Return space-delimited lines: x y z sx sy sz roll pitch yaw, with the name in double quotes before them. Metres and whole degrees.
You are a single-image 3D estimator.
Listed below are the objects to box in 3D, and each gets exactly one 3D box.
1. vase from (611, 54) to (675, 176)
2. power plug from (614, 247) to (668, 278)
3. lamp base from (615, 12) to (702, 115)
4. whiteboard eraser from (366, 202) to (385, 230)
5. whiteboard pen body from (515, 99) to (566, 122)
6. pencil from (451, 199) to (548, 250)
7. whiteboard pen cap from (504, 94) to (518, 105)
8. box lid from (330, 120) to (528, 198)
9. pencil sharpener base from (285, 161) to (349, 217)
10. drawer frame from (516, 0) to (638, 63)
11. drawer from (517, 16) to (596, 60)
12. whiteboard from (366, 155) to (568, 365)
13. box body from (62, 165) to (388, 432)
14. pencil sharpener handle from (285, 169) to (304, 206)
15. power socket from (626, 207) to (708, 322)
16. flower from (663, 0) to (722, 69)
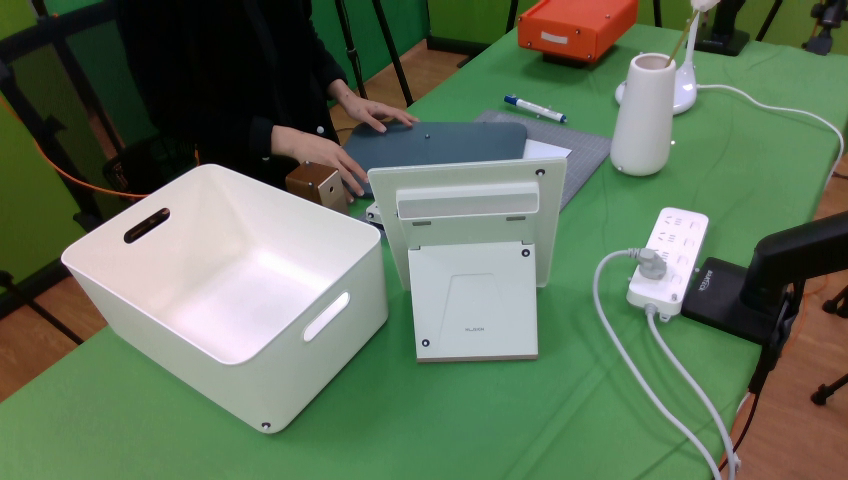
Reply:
"vase" 0.377 -0.209 1.031 0.098 0.201 0.097 -4 40 3
"power plug" 0.306 0.031 0.851 0.072 0.053 0.035 24 49 33
"lamp base" 0.484 -0.363 1.211 0.180 0.181 0.159 -15 41 -14
"whiteboard eraser" -0.037 -0.038 1.006 0.112 0.042 0.055 16 48 25
"whiteboard pen body" 0.234 -0.274 1.262 0.139 0.017 0.017 28 51 29
"pencil" 0.125 -0.025 0.994 0.195 0.012 0.012 -26 44 -19
"whiteboard pen cap" 0.190 -0.299 1.292 0.033 0.018 0.018 30 52 28
"box lid" 0.009 -0.158 1.167 0.370 0.015 0.262 3 41 13
"pencil sharpener base" -0.180 -0.071 1.019 0.076 0.107 0.061 16 46 26
"drawer frame" 0.355 -0.508 1.411 0.200 0.083 0.214 23 51 32
"drawer" 0.352 -0.506 1.405 0.193 0.073 0.212 23 49 32
"whiteboard" 0.059 0.050 0.738 0.217 0.307 0.143 -2 60 6
"box body" -0.255 0.065 0.827 0.361 0.161 0.255 21 48 29
"pencil sharpener handle" -0.227 -0.091 1.031 0.030 0.068 0.036 17 35 26
"power socket" 0.359 0.026 0.886 0.072 0.033 0.227 16 46 26
"flower" 0.379 -0.261 0.965 0.044 0.362 0.038 20 53 5
